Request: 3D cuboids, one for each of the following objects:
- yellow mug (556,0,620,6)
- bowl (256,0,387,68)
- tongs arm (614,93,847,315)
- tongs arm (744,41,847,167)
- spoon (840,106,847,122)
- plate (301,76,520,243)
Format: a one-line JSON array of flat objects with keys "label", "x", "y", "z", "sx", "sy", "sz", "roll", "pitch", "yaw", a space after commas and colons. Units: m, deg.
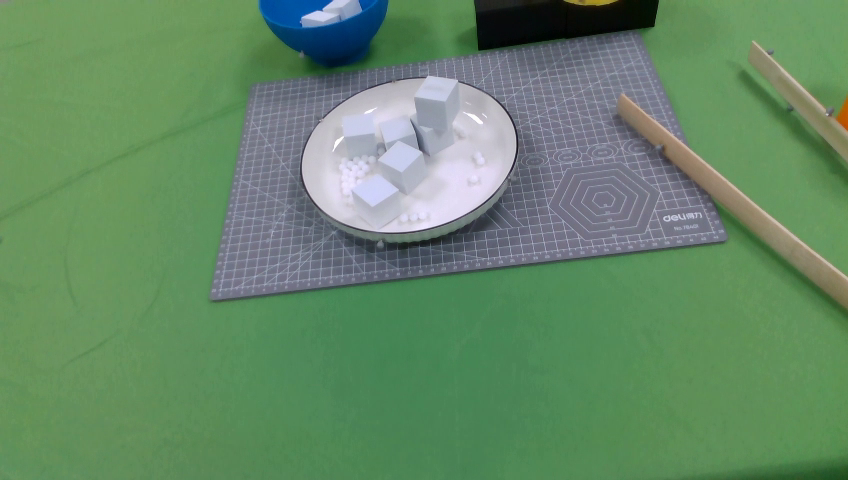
[{"label": "yellow mug", "x": 0.164, "y": -0.305, "z": 0.647, "sx": 0.131, "sy": 0.064, "sz": 0.099, "roll": -4, "pitch": 53, "yaw": 7}, {"label": "bowl", "x": -0.110, "y": -0.257, "z": 0.711, "sx": 0.151, "sy": 0.077, "sz": 0.150, "roll": -5, "pitch": 53, "yaw": 7}, {"label": "tongs arm", "x": 0.288, "y": -0.010, "z": 0.493, "sx": 0.028, "sy": 0.028, "sz": 0.383, "roll": -27, "pitch": 55, "yaw": -16}, {"label": "tongs arm", "x": 0.363, "y": -0.040, "z": 0.502, "sx": 0.051, "sy": 0.027, "sz": 0.380, "roll": -17, "pitch": 55, "yaw": -5}, {"label": "spoon", "x": 0.435, "y": -0.122, "z": 0.479, "sx": 0.041, "sy": 0.193, "sz": 0.022, "roll": -40, "pitch": 101, "yaw": -22}, {"label": "plate", "x": -0.012, "y": -0.077, "z": 0.583, "sx": 0.207, "sy": 0.039, "sz": 0.205, "roll": -4, "pitch": 53, "yaw": 6}]
